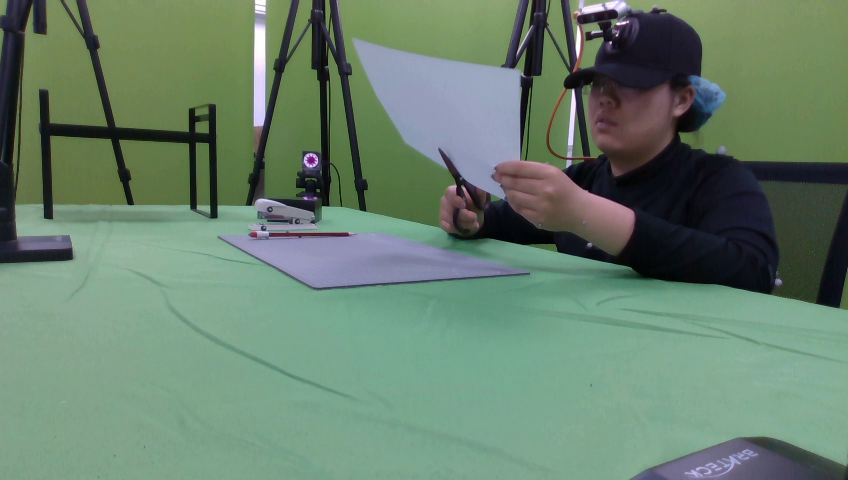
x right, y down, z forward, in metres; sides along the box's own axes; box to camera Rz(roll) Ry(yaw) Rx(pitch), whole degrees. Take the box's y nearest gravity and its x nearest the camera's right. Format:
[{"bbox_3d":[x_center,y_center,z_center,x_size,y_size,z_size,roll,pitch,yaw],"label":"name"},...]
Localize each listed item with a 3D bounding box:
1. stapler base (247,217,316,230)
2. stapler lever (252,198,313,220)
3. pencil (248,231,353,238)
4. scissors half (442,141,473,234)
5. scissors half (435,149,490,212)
[{"bbox_3d":[-0.276,-0.033,1.172,0.131,0.024,0.041,0,10,-37],"label":"stapler base"},{"bbox_3d":[-0.273,-0.058,1.170,0.119,0.040,0.026,0,10,-37],"label":"stapler lever"},{"bbox_3d":[-0.206,-0.009,1.039,0.195,0.012,0.012,0,8,-36],"label":"pencil"},{"bbox_3d":[0.049,-0.078,0.949,0.013,0.175,0.040,17,46,38],"label":"scissors half"},{"bbox_3d":[0.062,-0.096,0.957,0.012,0.040,0.176,22,-9,40],"label":"scissors half"}]
